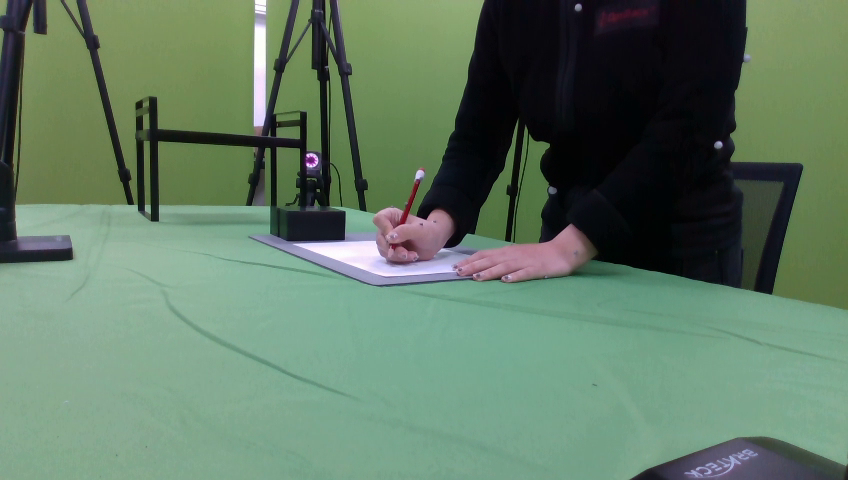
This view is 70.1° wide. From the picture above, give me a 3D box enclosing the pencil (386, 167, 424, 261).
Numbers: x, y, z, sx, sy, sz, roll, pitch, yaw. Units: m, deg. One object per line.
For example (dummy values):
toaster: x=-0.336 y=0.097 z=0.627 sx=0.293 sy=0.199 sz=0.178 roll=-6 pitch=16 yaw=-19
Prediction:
pencil: x=-0.026 y=-0.040 z=0.824 sx=0.012 sy=0.012 sz=0.194 roll=5 pitch=44 yaw=14
